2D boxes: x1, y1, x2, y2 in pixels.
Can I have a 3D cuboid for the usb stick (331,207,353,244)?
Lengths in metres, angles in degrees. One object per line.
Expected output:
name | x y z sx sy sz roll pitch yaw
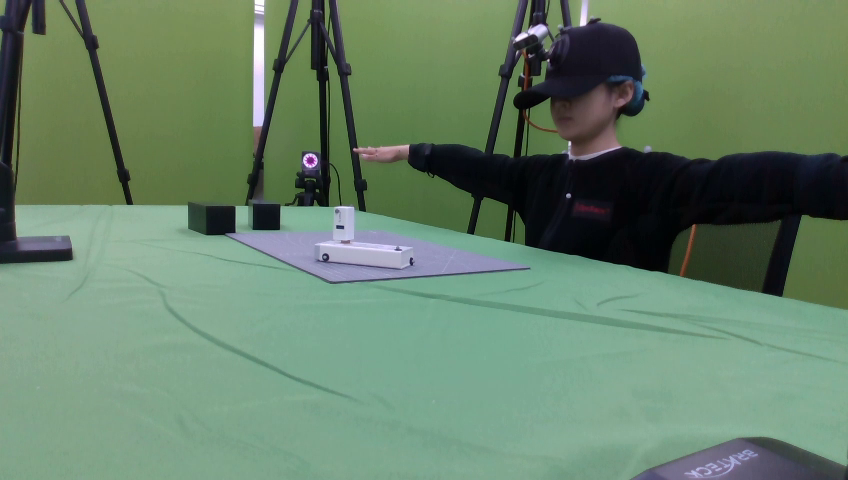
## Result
usb stick | -0.110 -0.014 0.812 0.021 0.059 0.027 5 11 16

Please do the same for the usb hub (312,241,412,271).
usb hub | -0.083 0.020 0.803 0.125 0.025 0.049 5 8 17
